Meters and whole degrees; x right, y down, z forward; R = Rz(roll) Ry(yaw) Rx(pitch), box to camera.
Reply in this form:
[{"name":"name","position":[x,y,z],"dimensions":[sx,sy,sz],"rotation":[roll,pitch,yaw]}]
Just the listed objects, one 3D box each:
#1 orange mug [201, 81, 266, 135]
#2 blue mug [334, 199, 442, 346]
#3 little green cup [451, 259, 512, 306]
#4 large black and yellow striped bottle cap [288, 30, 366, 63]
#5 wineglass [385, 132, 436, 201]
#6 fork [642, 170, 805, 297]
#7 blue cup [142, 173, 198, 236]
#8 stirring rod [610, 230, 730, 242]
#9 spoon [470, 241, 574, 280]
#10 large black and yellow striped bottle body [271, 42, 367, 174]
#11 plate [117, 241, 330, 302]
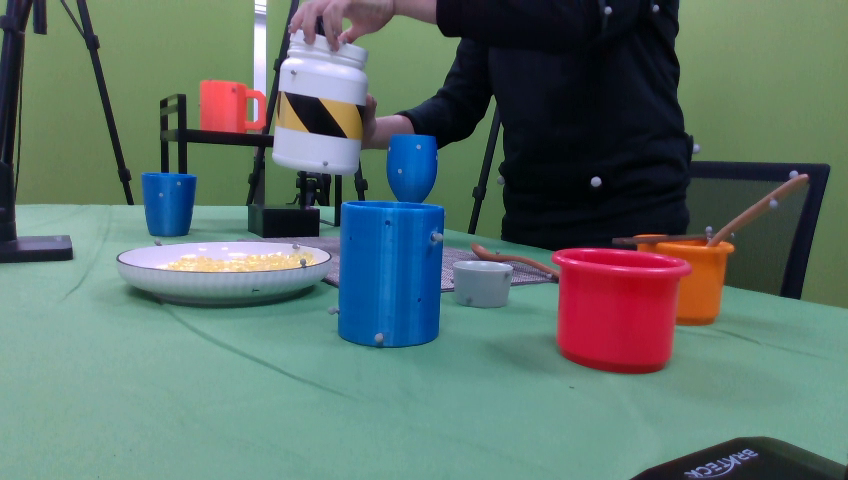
[{"name":"orange mug","position":[-0.376,-0.260,1.198],"dimensions":[0.126,0.101,0.083],"rotation":[-3,8,-6]},{"name":"blue mug","position":[-0.034,0.020,0.498],"dimensions":[0.083,0.106,0.116],"rotation":[0,7,-19]},{"name":"little green cup","position":[0.057,0.043,0.611],"dimensions":[0.061,0.038,0.061],"rotation":[3,7,0]},{"name":"large black and yellow striped bottle cap","position":[-0.143,-0.287,0.898],"dimensions":[0.115,0.019,0.115],"rotation":[16,13,-3]},{"name":"wineglass","position":[-0.020,-0.061,0.838],"dimensions":[0.074,0.172,0.073],"rotation":[2,7,0]},{"name":"fork","position":[0.261,0.003,0.545],"dimensions":[0.028,0.018,0.207],"rotation":[5,-37,-16]},{"name":"blue cup","position":[-0.425,-0.060,1.014],"dimensions":[0.093,0.100,0.092],"rotation":[4,9,0]},{"name":"stirring rod","position":[0.241,-0.004,0.582],"dimensions":[0.177,0.006,0.014],"rotation":[-3,9,-34]},{"name":"spoon","position":[0.125,0.025,0.800],"dimensions":[0.042,0.021,0.192],"rotation":[22,-5,-34]},{"name":"large black and yellow striped bottle body","position":[-0.157,-0.200,0.917],"dimensions":[0.131,0.184,0.130],"rotation":[8,11,-1]},{"name":"plate","position":[-0.203,0.031,0.630],"dimensions":[0.209,0.038,0.209],"rotation":[3,7,0]}]
